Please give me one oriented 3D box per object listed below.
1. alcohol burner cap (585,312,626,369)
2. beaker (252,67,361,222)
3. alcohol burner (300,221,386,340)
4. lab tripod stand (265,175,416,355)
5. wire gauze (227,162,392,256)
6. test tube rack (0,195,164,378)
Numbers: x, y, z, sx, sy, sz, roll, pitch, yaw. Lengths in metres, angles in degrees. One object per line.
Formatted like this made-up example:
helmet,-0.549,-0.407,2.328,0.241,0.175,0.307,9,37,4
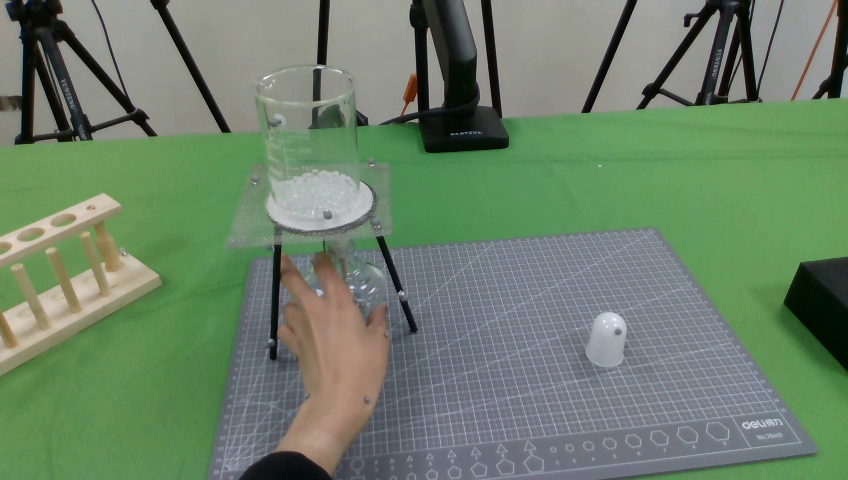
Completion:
alcohol burner cap,0.158,0.083,0.519,0.034,0.048,0.033,0,37,1
beaker,-0.088,-0.072,0.463,0.083,0.101,0.074,20,40,23
alcohol burner,-0.072,0.031,0.534,0.078,0.120,0.077,2,38,-1
lab tripod stand,-0.079,0.020,0.531,0.148,0.132,0.147,1,35,0
wire gauze,-0.087,-0.031,0.490,0.121,0.011,0.124,-3,38,-3
test tube rack,-0.366,0.056,0.532,0.066,0.086,0.242,25,43,31
